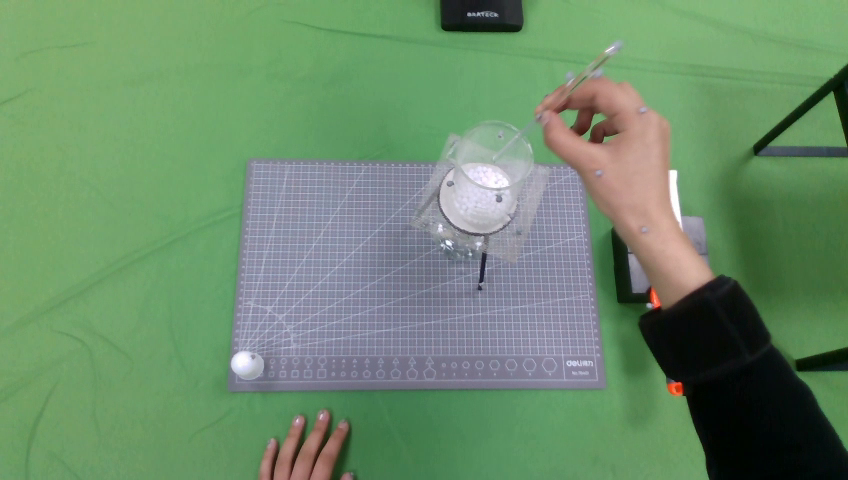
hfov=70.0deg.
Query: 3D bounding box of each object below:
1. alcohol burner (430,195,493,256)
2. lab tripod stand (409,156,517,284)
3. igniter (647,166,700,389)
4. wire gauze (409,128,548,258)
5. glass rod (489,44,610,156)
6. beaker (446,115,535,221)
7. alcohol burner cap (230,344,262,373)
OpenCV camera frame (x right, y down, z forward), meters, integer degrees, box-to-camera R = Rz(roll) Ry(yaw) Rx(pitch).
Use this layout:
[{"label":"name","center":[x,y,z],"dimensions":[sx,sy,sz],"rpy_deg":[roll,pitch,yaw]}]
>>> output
[{"label":"alcohol burner","center":[0.047,-0.023,0.727],"dimensions":[0.078,0.119,0.077],"rpy_deg":[1,73,-2]},{"label":"lab tripod stand","center":[0.056,-0.035,0.721],"dimensions":[0.148,0.132,0.147],"rpy_deg":[1,70,-3]},{"label":"igniter","center":[0.295,0.038,0.724],"dimensions":[0.057,0.025,0.274],"rpy_deg":[2,71,0]},{"label":"wire gauze","center":[0.062,-0.053,0.659],"dimensions":[0.121,0.011,0.124],"rpy_deg":[23,69,1]},{"label":"glass rod","center":[0.091,-0.102,0.479],"dimensions":[0.008,0.200,0.008],"rpy_deg":[3,77,-15]},{"label":"beaker","center":[0.061,-0.068,0.612],"dimensions":[0.084,0.101,0.073],"rpy_deg":[0,70,-3]},{"label":"alcohol burner cap","center":[-0.207,0.135,0.697],"dimensions":[0.034,0.048,0.033],"rpy_deg":[2,72,-4]}]
